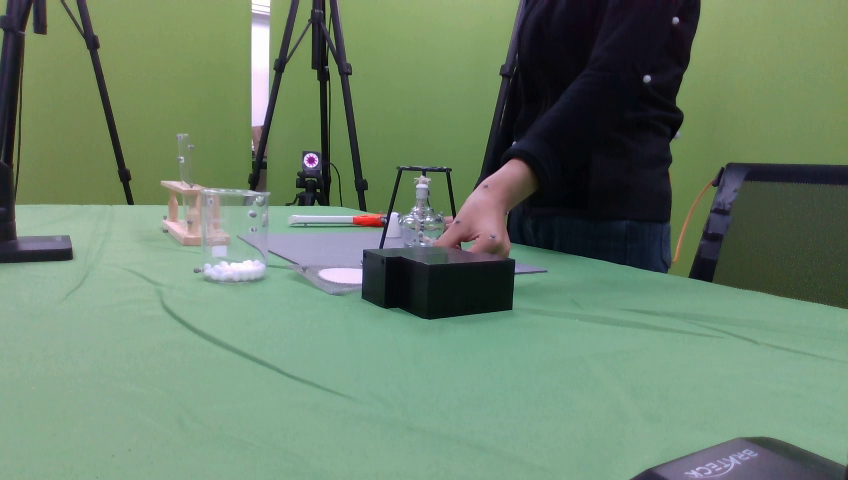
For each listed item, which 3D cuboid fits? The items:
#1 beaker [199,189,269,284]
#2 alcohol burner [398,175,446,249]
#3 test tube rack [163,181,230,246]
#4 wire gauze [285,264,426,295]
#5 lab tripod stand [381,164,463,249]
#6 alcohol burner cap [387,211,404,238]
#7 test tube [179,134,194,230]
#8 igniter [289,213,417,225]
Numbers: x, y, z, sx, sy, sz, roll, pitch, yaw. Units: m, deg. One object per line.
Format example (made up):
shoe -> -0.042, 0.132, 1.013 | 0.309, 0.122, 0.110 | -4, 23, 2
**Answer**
beaker -> -0.209, -0.006, 0.676 | 0.073, 0.100, 0.084 | 7, 8, 28
alcohol burner -> -0.003, -0.046, 0.973 | 0.078, 0.119, 0.078 | 0, 7, 0
test tube rack -> -0.387, -0.050, 1.015 | 0.067, 0.085, 0.241 | -2, 9, -30
wire gauze -> -0.081, 0.039, 0.692 | 0.122, 0.011, 0.124 | -4, 11, -36
lab tripod stand -> -0.003, -0.055, 0.967 | 0.148, 0.131, 0.148 | 2, 9, 0
alcohol burner cap -> -0.053, -0.029, 1.107 | 0.034, 0.048, 0.034 | 2, 9, 0
test tube -> -0.366, -0.089, 0.938 | 0.017, 0.150, 0.017 | -1, 9, 1
igniter -> -0.144, -0.044, 1.275 | 0.278, 0.025, 0.057 | -1, -1, -27
